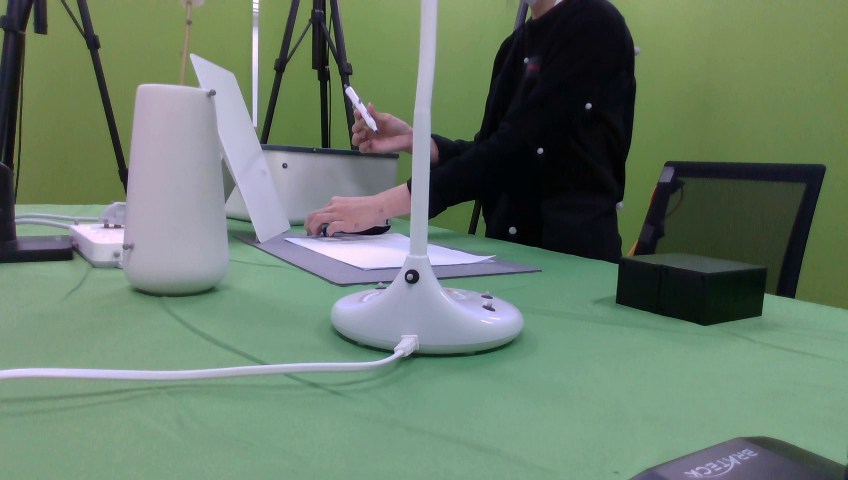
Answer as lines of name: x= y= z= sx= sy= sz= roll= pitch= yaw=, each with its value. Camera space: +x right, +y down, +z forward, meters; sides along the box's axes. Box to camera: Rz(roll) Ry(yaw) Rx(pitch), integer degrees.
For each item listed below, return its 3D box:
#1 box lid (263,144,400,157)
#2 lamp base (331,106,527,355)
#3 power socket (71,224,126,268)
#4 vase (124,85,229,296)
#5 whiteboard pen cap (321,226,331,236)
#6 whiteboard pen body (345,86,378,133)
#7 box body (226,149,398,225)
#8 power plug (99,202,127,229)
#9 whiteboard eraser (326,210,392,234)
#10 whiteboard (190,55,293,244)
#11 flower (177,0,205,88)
box lid: x=-0.263 y=-0.203 z=1.369 sx=0.262 sy=0.015 sz=0.373 roll=9 pitch=10 yaw=39
lamp base: x=0.006 y=-0.012 z=0.478 sx=0.161 sy=0.180 sz=0.179 roll=2 pitch=10 yaw=2
power socket: x=-0.409 y=0.004 z=0.793 sx=0.072 sy=0.032 sz=0.225 roll=-2 pitch=8 yaw=-37
vase: x=-0.244 y=-0.047 z=0.598 sx=0.098 sy=0.200 sz=0.098 roll=3 pitch=8 yaw=0
whiteboard pen cap: x=-0.174 y=-0.016 z=1.076 sx=0.018 sy=0.018 sz=0.033 roll=0 pitch=3 yaw=-14
whiteboard pen body: x=-0.117 y=-0.246 z=1.144 sx=0.017 sy=0.017 sz=0.140 roll=-4 pitch=49 yaw=-38
box body: x=-0.265 y=-0.129 z=1.380 sx=0.253 sy=0.160 sz=0.366 roll=8 pitch=9 yaw=39
power plug: x=-0.415 y=-0.026 z=0.848 sx=0.073 sy=0.052 sz=0.035 roll=6 pitch=5 yaw=-28
whiteboard eraser: x=-0.121 y=-0.033 z=1.131 sx=0.112 sy=0.042 sz=0.056 roll=4 pitch=8 yaw=13
whiteboard: x=-0.362 y=-0.129 z=1.029 sx=0.144 sy=0.305 sz=0.217 roll=-18 pitch=7 yaw=3
flower: x=-0.243 y=-0.131 z=0.609 sx=0.044 sy=0.361 sz=0.038 roll=-5 pitch=-12 yaw=12
